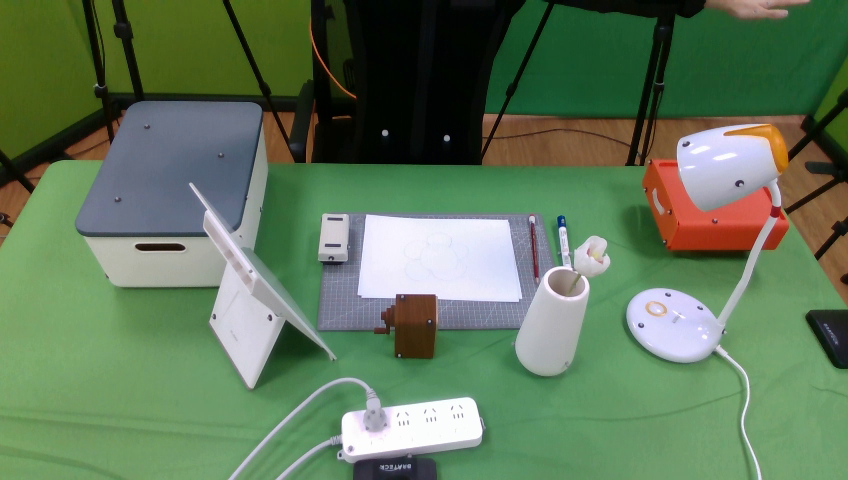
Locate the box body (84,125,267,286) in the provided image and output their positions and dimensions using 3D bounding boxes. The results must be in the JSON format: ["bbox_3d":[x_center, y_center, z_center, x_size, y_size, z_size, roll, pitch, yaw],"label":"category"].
[{"bbox_3d":[-0.446,-0.088,1.150,0.254,0.161,0.361,-1,46,-5],"label":"box body"}]

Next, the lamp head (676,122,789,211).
[{"bbox_3d":[0.423,-0.104,0.819,0.122,0.113,0.112,-13,33,40],"label":"lamp head"}]

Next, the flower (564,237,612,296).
[{"bbox_3d":[0.206,0.088,0.893,0.038,0.363,0.044,-17,67,-9],"label":"flower"}]

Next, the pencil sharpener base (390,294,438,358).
[{"bbox_3d":[-0.018,0.143,1.000,0.077,0.107,0.061,1,46,-2],"label":"pencil sharpener base"}]

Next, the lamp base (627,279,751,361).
[{"bbox_3d":[0.459,0.100,1.027,0.178,0.181,0.160,27,51,17],"label":"lamp base"}]

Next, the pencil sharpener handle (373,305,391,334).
[{"bbox_3d":[-0.069,0.133,0.989,0.030,0.068,0.036,1,47,-2],"label":"pencil sharpener handle"}]

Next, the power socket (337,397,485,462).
[{"bbox_3d":[-0.018,0.285,0.915,0.227,0.033,0.071,-5,46,-8],"label":"power socket"}]

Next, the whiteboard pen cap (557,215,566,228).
[{"bbox_3d":[0.284,-0.035,1.246,0.018,0.018,0.033,4,52,-1],"label":"whiteboard pen cap"}]

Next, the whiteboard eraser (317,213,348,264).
[{"bbox_3d":[-0.175,-0.003,1.169,0.055,0.042,0.112,-1,46,-3],"label":"whiteboard eraser"}]

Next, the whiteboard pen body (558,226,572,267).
[{"bbox_3d":[0.280,0.010,1.208,0.017,0.017,0.140,3,50,-1],"label":"whiteboard pen body"}]

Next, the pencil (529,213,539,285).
[{"bbox_3d":[0.220,0.016,1.204,0.012,0.012,0.193,5,47,0],"label":"pencil"}]

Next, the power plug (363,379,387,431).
[{"bbox_3d":[-0.072,0.252,0.910,0.035,0.053,0.072,3,45,-1],"label":"power plug"}]

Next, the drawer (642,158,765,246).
[{"bbox_3d":[0.565,-0.076,1.211,0.212,0.073,0.193,2,45,-2],"label":"drawer"}]

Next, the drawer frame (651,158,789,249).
[{"bbox_3d":[0.571,-0.075,1.214,0.214,0.083,0.200,0,45,-1],"label":"drawer frame"}]

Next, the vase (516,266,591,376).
[{"bbox_3d":[0.208,0.132,0.964,0.098,0.201,0.097,3,46,-3],"label":"vase"}]

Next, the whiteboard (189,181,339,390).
[{"bbox_3d":[-0.292,0.096,0.929,0.144,0.307,0.216,-37,57,-10],"label":"whiteboard"}]

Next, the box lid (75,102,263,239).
[{"bbox_3d":[-0.443,-0.138,1.094,0.263,0.015,0.369,-1,47,-5],"label":"box lid"}]
